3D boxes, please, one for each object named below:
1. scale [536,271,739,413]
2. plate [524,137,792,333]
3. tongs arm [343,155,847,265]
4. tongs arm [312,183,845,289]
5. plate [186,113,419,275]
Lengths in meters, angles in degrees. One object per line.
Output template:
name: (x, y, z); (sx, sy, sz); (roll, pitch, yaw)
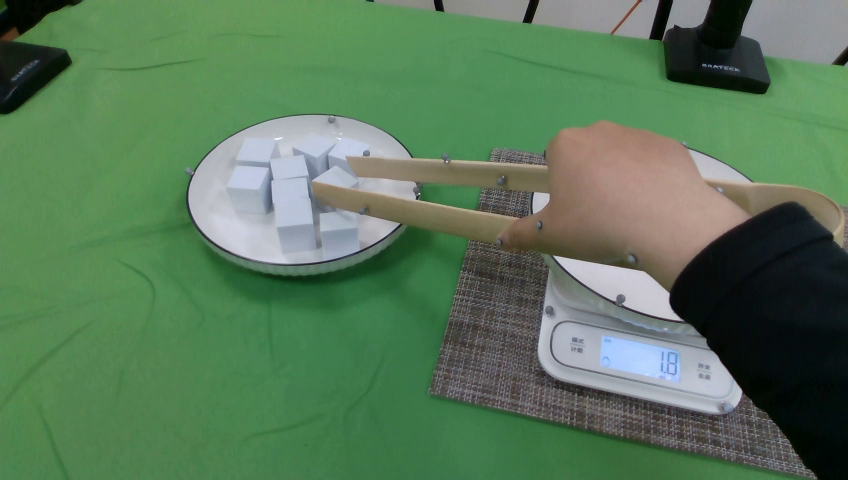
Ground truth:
scale: (0.177, 0.037, 0.500); (0.148, 0.032, 0.199); (11, 48, 9)
plate: (0.184, -0.006, 0.495); (0.208, 0.039, 0.205); (2, 47, -2)
tongs arm: (0.070, -0.032, 0.428); (0.382, 0.027, 0.050); (8, 45, 37)
tongs arm: (0.054, -0.014, 0.413); (0.384, 0.028, 0.028); (11, 43, 39)
plate: (-0.108, -0.043, 0.563); (0.209, 0.038, 0.207); (2, 47, -1)
